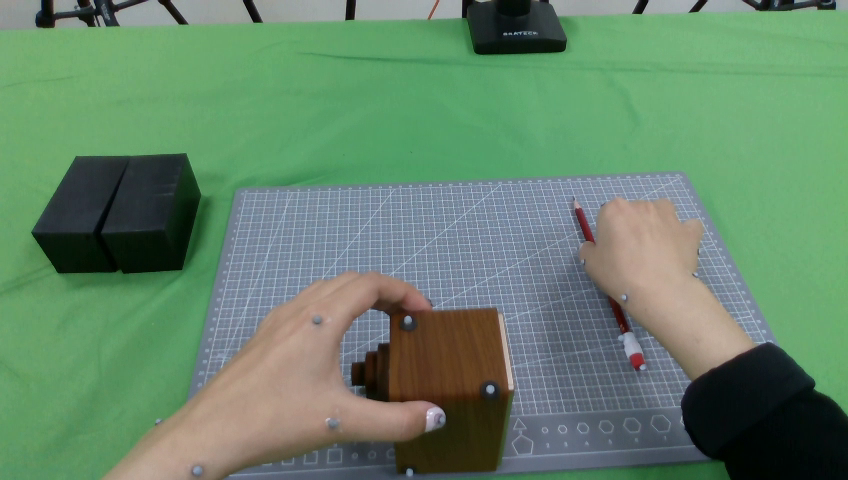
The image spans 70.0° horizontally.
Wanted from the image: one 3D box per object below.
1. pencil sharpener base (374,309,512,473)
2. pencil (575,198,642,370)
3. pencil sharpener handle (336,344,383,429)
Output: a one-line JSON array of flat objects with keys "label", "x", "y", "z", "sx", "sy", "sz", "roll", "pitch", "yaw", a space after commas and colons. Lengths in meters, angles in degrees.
[{"label": "pencil sharpener base", "x": 0.010, "y": 0.099, "z": 0.384, "sx": 0.077, "sy": 0.108, "sz": 0.060, "roll": -2, "pitch": 47, "yaw": -1}, {"label": "pencil", "x": 0.153, "y": 0.028, "z": 0.519, "sx": 0.012, "sy": 0.012, "sz": 0.192, "roll": -2, "pitch": 46, "yaw": -3}, {"label": "pencil sharpener handle", "x": -0.041, "y": 0.094, "z": 0.371, "sx": 0.030, "sy": 0.068, "sz": 0.035, "roll": -2, "pitch": 36, "yaw": -1}]
